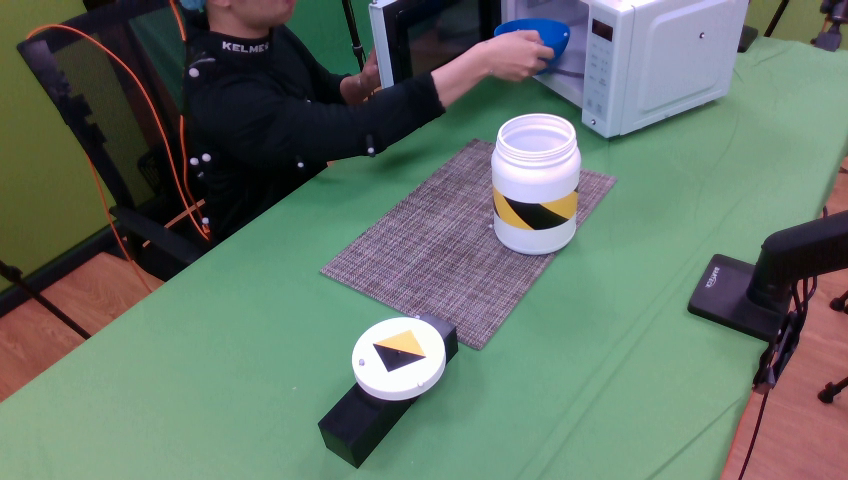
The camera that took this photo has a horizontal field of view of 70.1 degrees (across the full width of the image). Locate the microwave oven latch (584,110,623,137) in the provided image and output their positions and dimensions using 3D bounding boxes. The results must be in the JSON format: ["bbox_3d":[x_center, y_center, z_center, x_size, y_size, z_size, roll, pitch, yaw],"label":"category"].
[{"bbox_3d":[0.337,-0.222,1.142,0.030,0.029,0.078,-21,42,-14],"label":"microwave oven latch"}]

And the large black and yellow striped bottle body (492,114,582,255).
[{"bbox_3d":[0.169,-0.083,0.912,0.131,0.185,0.130,-4,41,4],"label":"large black and yellow striped bottle body"}]

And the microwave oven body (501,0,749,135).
[{"bbox_3d":[0.382,-0.444,1.246,0.327,0.261,0.437,-22,42,-16],"label":"microwave oven body"}]

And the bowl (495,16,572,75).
[{"bbox_3d":[0.223,-0.388,1.230,0.151,0.077,0.150,-5,41,5],"label":"bowl"}]

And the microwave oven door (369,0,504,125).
[{"bbox_3d":[0.042,-0.425,1.263,0.039,0.245,0.357,29,52,34],"label":"microwave oven door"}]

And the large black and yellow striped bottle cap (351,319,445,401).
[{"bbox_3d":[-0.032,0.143,0.734,0.115,0.019,0.114,-3,40,3],"label":"large black and yellow striped bottle cap"}]
